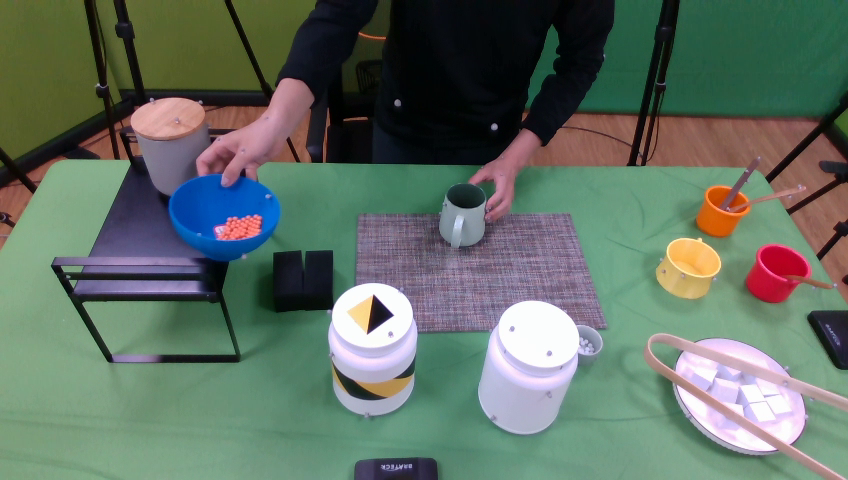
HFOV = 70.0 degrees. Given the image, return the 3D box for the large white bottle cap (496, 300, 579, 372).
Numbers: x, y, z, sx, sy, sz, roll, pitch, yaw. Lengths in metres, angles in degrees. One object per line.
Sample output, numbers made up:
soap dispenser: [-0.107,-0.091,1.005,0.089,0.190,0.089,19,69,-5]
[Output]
large white bottle cap: [0.160,0.133,0.852,0.115,0.018,0.114,3,46,-3]

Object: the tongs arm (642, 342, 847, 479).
tongs arm: [0.504,0.278,0.918,0.386,0.028,0.028,34,59,22]

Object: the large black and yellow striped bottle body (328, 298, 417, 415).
large black and yellow striped bottle body: [-0.078,0.167,0.920,0.131,0.185,0.130,2,46,-2]

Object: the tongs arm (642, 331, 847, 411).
tongs arm: [0.546,0.227,0.968,0.384,0.026,0.050,22,52,13]

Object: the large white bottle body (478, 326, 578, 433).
large white bottle body: [0.156,0.192,0.913,0.131,0.185,0.130,2,46,-2]

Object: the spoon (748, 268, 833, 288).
spoon: [0.660,0.068,1.098,0.041,0.193,0.021,-4,91,-6]

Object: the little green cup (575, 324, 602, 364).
little green cup: [0.269,0.179,1.036,0.061,0.039,0.061,2,45,-2]

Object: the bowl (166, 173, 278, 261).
bowl: [-0.296,-0.022,0.889,0.151,0.077,0.150,10,41,-9]

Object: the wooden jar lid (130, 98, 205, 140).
wooden jar lid: [-0.393,-0.183,0.934,0.108,0.021,0.107,3,44,-2]

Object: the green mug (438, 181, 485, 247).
green mug: [0.071,-0.040,1.177,0.092,0.105,0.124,12,47,7]

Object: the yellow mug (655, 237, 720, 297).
yellow mug: [0.509,0.041,1.167,0.099,0.064,0.130,24,48,18]

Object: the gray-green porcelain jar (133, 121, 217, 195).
gray-green porcelain jar: [-0.397,-0.141,0.980,0.106,0.127,0.105,2,47,-2]

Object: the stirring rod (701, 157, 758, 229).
stirring rod: [0.634,-0.096,1.257,0.014,0.006,0.176,38,97,30]

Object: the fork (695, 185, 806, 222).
fork: [0.658,-0.074,1.230,0.207,0.019,0.028,-23,36,37]

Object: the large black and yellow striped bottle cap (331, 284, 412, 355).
large black and yellow striped bottle cap: [-0.073,0.110,0.858,0.115,0.019,0.114,2,46,-2]

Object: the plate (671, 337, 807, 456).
plate: [0.504,0.254,0.984,0.208,0.039,0.206,2,46,-2]
